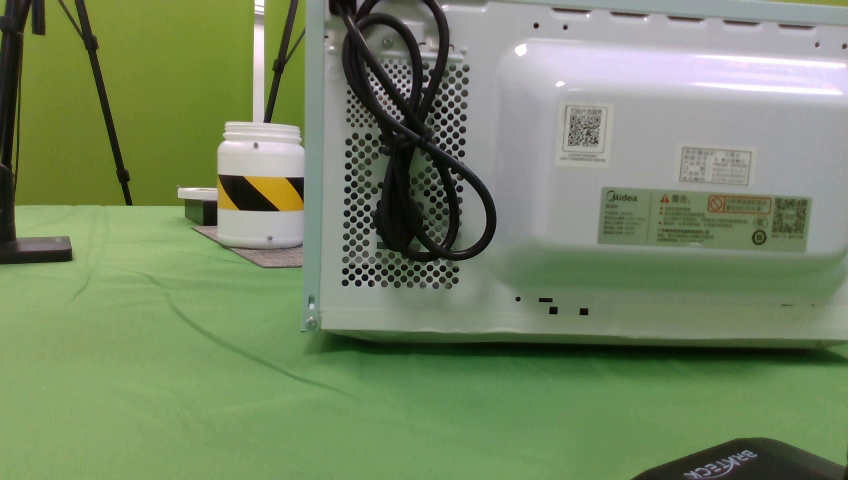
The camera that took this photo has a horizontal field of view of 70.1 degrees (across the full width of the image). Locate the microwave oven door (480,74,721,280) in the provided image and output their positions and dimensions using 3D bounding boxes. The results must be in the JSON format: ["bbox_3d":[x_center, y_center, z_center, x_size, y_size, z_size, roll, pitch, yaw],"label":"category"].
[{"bbox_3d":[0.219,-0.093,0.840,0.039,0.243,0.354,-4,10,-39],"label":"microwave oven door"}]

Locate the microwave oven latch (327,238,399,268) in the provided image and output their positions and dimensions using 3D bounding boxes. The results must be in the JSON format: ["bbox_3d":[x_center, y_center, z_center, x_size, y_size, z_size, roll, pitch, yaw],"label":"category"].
[{"bbox_3d":[-0.069,0.015,0.694,0.079,0.029,0.030,3,7,-3],"label":"microwave oven latch"}]

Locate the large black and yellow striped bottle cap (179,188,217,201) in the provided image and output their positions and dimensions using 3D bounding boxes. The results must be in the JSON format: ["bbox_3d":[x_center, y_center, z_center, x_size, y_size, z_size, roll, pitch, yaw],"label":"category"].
[{"bbox_3d":[-0.434,-0.093,1.226,0.115,0.019,0.115,3,9,0],"label":"large black and yellow striped bottle cap"}]

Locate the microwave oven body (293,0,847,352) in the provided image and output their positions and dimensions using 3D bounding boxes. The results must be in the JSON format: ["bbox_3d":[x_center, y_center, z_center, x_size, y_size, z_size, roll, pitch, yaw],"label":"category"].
[{"bbox_3d":[0.122,-0.055,0.550,0.442,0.260,0.325,3,7,-5],"label":"microwave oven body"}]

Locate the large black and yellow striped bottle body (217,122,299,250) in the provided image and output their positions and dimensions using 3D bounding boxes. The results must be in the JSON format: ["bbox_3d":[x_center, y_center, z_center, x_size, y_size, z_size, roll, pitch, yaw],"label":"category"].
[{"bbox_3d":[-0.250,-0.084,0.931,0.131,0.184,0.130,2,7,0],"label":"large black and yellow striped bottle body"}]

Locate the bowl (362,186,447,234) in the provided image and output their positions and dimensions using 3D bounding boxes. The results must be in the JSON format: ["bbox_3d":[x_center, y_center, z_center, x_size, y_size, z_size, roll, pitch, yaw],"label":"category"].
[{"bbox_3d":[-0.036,-0.054,1.076,0.151,0.077,0.151,3,7,0],"label":"bowl"}]
